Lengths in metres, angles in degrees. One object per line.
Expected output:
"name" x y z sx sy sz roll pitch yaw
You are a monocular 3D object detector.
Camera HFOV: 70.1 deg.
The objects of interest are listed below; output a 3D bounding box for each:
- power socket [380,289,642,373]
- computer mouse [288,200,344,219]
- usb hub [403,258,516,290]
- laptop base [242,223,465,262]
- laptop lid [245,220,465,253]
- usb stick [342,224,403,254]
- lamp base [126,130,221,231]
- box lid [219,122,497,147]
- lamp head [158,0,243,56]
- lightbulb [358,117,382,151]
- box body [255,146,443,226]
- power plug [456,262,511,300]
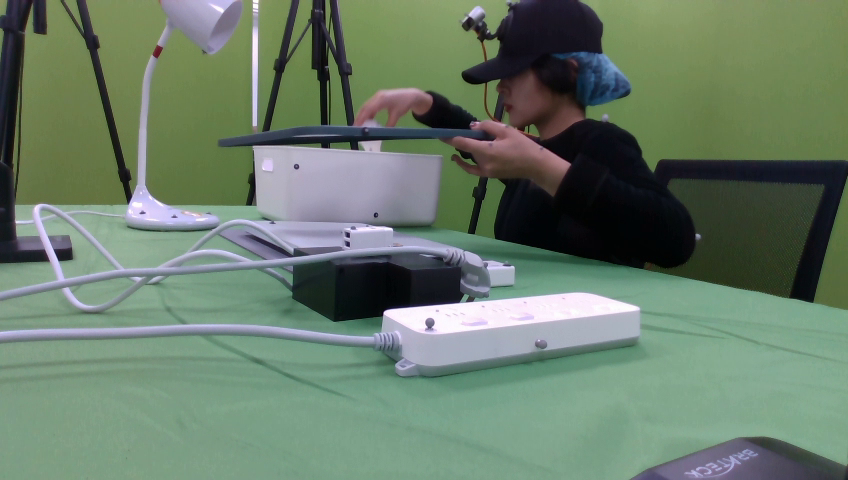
"power socket" 0.072 0.064 0.461 0.228 0.032 0.072 -2 8 -30
"computer mouse" -0.234 -0.064 1.313 0.118 0.041 0.062 4 3 -32
"usb hub" 0.042 0.038 0.690 0.126 0.025 0.049 -2 9 -29
"laptop base" -0.126 0.003 0.946 0.237 0.023 0.352 2 6 -31
"laptop lid" -0.124 -0.009 0.945 0.243 0.013 0.355 1 7 -29
"usb stick" -0.047 -0.001 0.567 0.059 0.027 0.021 0 5 -32
"lamp base" -0.469 -0.112 1.108 0.179 0.180 0.160 0 7 3
"box lid" -0.096 -0.160 0.926 0.373 0.015 0.262 -11 11 -42
"lamp head" -0.398 -0.397 1.057 0.123 0.112 0.112 27 5 -7
"lightbulb" -0.115 -0.220 1.335 0.059 0.108 0.059 -5 35 4
"box body" -0.168 -0.121 1.343 0.366 0.160 0.253 -2 8 -31
"power plug" 0.052 0.051 0.543 0.035 0.052 0.072 6 37 -20
